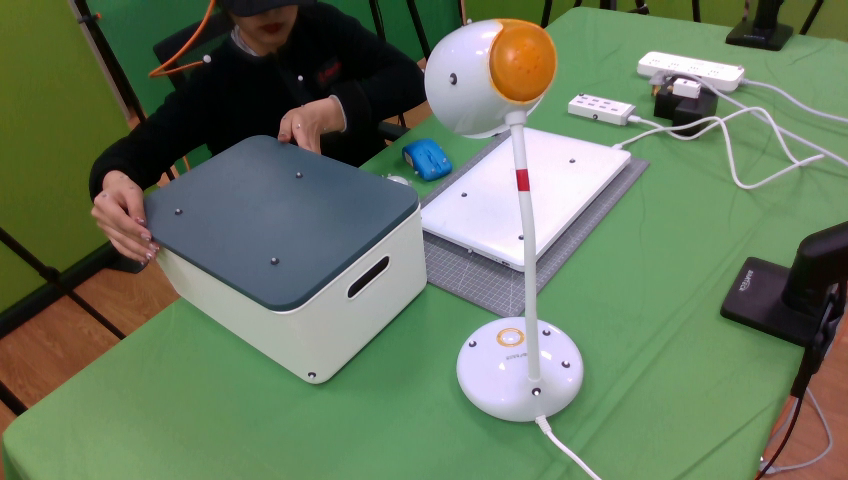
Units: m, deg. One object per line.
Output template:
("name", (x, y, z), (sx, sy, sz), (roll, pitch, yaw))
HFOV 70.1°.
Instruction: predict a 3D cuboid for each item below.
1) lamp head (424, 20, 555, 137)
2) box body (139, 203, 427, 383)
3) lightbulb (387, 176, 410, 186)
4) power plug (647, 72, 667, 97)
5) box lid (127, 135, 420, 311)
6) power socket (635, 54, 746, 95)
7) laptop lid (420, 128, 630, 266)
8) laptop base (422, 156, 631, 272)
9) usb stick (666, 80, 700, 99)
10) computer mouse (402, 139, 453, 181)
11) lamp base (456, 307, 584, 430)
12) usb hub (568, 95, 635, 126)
("lamp head", (0.069, -0.153, 0.572), (0.113, 0.112, 0.122), (-21, 16, -14))
("box body", (-0.201, 0.019, 0.896), (0.361, 0.161, 0.255), (23, 50, 33))
("lightbulb", (-0.066, -0.086, 1.083), (0.060, 0.060, 0.107), (-38, 31, -30))
("power plug", (0.493, -0.321, 1.261), (0.073, 0.052, 0.035), (1, 21, -41))
("box lid", (-0.214, -0.044, 0.845), (0.368, 0.015, 0.264), (22, 49, 33))
("power socket", (0.564, -0.357, 1.293), (0.225, 0.033, 0.072), (24, 51, 33))
("laptop lid", (0.172, -0.093, 1.049), (0.239, 0.013, 0.358), (24, 50, 36))
("laptop base", (0.176, -0.084, 1.055), (0.233, 0.023, 0.355), (21, 48, 36))
("usb stick", (0.492, -0.288, 1.152), (0.058, 0.027, 0.021), (20, 50, 34))
("computer mouse", (0.005, -0.159, 1.165), (0.063, 0.041, 0.116), (-21, 45, -17))
("lamp base", (0.115, 0.108, 0.713), (0.161, 0.181, 0.178), (-17, 43, -8))
("usb hub", (0.360, -0.263, 1.228), (0.124, 0.025, 0.049), (24, 49, 34))
